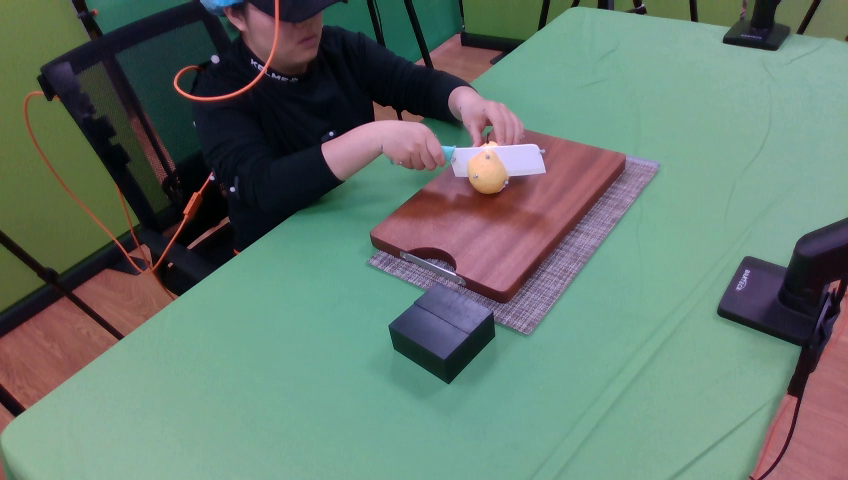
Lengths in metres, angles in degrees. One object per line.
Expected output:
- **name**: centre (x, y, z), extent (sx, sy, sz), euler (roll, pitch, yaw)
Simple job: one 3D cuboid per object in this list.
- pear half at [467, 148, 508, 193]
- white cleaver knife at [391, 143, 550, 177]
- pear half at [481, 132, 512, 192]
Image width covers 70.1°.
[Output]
- **pear half**: centre (0.103, -0.108, 1.000), extent (0.070, 0.088, 0.031), euler (12, 49, 11)
- **white cleaver knife**: centre (0.069, -0.131, 1.014), extent (0.284, 0.066, 0.021), euler (4, 40, 29)
- **pear half**: centre (0.116, -0.140, 1.019), extent (0.076, 0.110, 0.056), euler (11, 44, 16)
